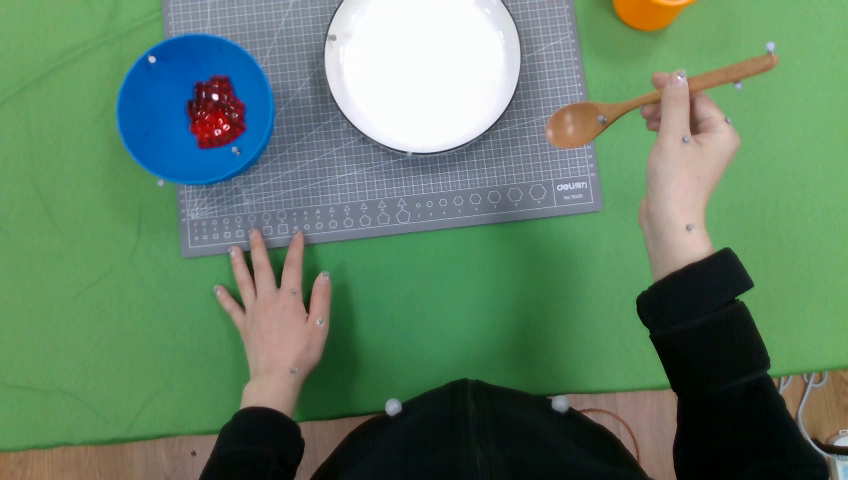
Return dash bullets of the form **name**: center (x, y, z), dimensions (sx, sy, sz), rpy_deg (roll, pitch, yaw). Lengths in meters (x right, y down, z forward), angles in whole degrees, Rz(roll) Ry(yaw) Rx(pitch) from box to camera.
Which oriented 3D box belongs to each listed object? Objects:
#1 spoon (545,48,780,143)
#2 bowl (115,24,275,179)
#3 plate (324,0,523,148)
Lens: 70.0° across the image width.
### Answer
- **spoon**: center (0.180, -0.116, 0.489), dimensions (0.022, 0.193, 0.041), rpy_deg (4, 80, -39)
- **bowl**: center (-0.219, -0.129, 0.615), dimensions (0.151, 0.077, 0.151), rpy_deg (0, 85, -1)
- **plate**: center (0.000, -0.197, 0.643), dimensions (0.209, 0.038, 0.208), rpy_deg (0, 84, 0)
